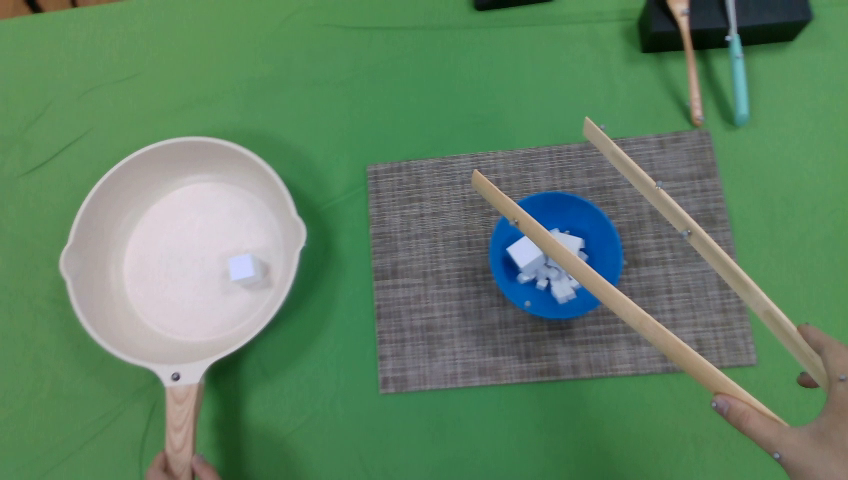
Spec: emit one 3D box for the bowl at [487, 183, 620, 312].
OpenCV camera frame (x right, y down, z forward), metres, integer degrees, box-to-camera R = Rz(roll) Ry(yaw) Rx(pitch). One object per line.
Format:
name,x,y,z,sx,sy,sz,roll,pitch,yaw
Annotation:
bowl,0.149,0.016,0.722,0.151,0.077,0.150,-1,76,4

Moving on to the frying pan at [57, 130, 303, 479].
frying pan,-0.287,0.104,0.725,0.307,0.103,0.484,-6,68,4

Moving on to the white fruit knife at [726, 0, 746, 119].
white fruit knife,0.390,-0.259,0.767,0.016,0.027,0.207,-6,93,9

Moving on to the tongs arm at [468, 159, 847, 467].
tongs arm,0.168,0.043,0.511,0.028,0.028,0.384,-30,57,-27

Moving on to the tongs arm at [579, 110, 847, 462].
tongs arm,0.234,0.011,0.535,0.051,0.027,0.380,-22,55,-17

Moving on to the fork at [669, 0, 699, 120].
fork,0.332,-0.257,0.771,0.028,0.018,0.207,-12,96,0
